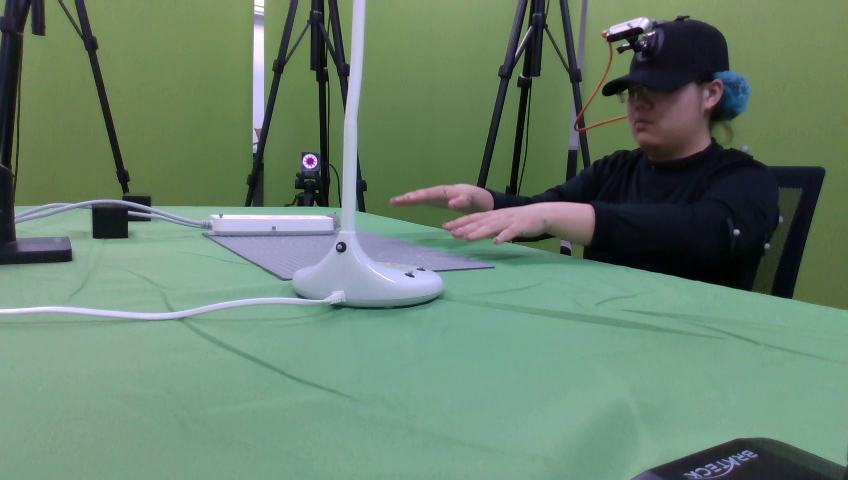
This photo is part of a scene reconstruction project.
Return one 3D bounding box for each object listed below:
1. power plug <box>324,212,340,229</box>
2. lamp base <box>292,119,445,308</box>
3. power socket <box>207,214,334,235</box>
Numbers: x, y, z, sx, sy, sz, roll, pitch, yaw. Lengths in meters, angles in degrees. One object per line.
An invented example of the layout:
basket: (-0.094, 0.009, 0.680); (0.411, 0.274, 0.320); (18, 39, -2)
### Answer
power plug: (-0.200, -0.027, 1.194); (0.072, 0.035, 0.052); (-35, 13, -11)
lamp base: (-0.056, -0.030, 0.616); (0.160, 0.180, 0.179); (4, 10, 8)
power socket: (-0.271, -0.029, 1.085); (0.228, 0.032, 0.072); (-1, 8, -28)
